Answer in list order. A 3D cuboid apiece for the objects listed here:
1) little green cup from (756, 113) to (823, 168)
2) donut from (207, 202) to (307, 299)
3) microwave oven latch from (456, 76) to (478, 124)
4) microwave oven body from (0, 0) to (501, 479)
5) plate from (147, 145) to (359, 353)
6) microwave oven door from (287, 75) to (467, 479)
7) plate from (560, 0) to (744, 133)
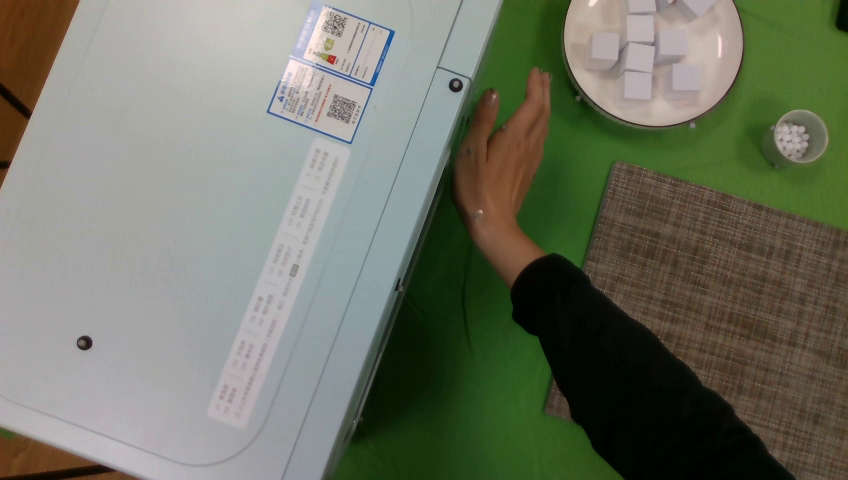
[{"bbox_3d":[0.417,-0.112,0.697,0.061,0.038,0.061,0,85,-1],"label":"little green cup"},{"bbox_3d":[-0.166,0.010,0.604,0.099,0.048,0.099,0,95,1],"label":"donut"},{"bbox_3d":[0.032,-0.146,0.673,0.030,0.029,0.079,27,86,1],"label":"microwave oven latch"},{"bbox_3d":[-0.165,-0.038,0.565,0.326,0.260,0.441,20,86,0],"label":"microwave oven body"},{"bbox_3d":[-0.169,0.009,0.614,0.209,0.038,0.208,0,85,-1],"label":"plate"},{"bbox_3d":[-0.043,0.052,0.555,0.039,0.244,0.355,20,85,1],"label":"microwave oven door"},{"bbox_3d":[0.259,-0.223,0.702,0.208,0.039,0.207,0,85,-1],"label":"plate"}]
